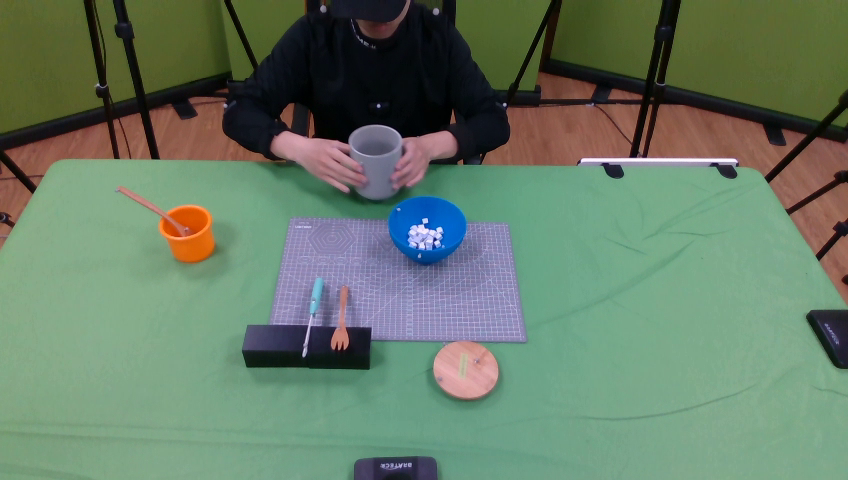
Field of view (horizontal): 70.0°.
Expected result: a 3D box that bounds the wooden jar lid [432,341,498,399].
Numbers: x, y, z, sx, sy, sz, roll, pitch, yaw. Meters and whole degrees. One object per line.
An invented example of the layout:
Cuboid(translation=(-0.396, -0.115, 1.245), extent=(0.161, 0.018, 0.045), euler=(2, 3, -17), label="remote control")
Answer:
Cuboid(translation=(0.067, 0.216, 0.997), extent=(0.108, 0.021, 0.107), euler=(1, 46, -1), label="wooden jar lid")

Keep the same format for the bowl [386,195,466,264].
Cuboid(translation=(0.003, -0.007, 1.162), extent=(0.151, 0.077, 0.150), euler=(2, 46, -2), label="bowl")

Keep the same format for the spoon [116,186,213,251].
Cuboid(translation=(-0.474, -0.040, 1.112), extent=(0.021, 0.195, 0.041), euler=(-31, 31, 29), label="spoon")

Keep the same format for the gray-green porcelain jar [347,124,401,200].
Cuboid(translation=(-0.100, -0.155, 1.239), extent=(0.106, 0.127, 0.105), euler=(1, 47, -1), label="gray-green porcelain jar")

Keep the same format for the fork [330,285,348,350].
Cuboid(translation=(-0.140, 0.127, 1.021), extent=(0.028, 0.019, 0.206), euler=(-5, 28, -2), label="fork")

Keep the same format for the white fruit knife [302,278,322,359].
Cuboid(translation=(-0.189, 0.126, 1.020), extent=(0.016, 0.027, 0.206), euler=(0, 33, -2), label="white fruit knife")
